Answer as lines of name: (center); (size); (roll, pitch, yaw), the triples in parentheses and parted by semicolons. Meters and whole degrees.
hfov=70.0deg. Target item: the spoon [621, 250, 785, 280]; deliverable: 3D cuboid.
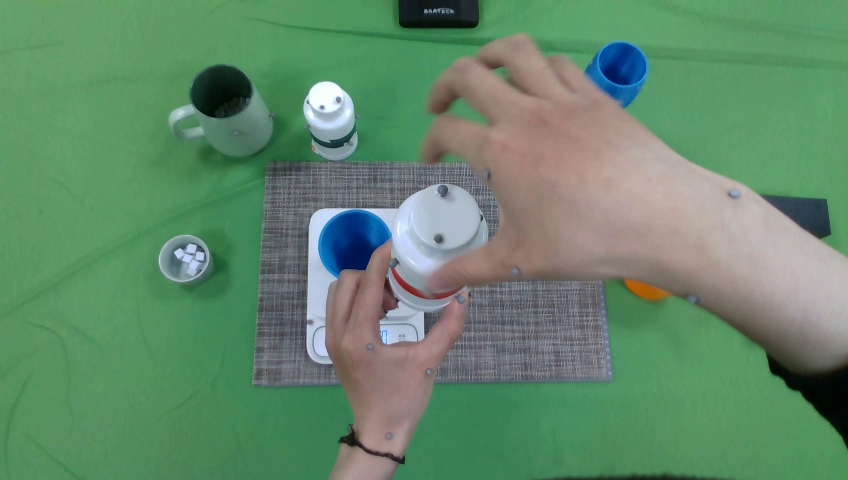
spoon: (0.340, 0.037, 0.755); (0.022, 0.192, 0.041); (22, 77, -42)

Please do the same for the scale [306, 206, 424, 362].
scale: (-0.077, 0.053, 0.781); (0.149, 0.032, 0.200); (-1, 75, -3)

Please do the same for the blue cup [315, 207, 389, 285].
blue cup: (-0.081, 0.016, 0.724); (0.093, 0.100, 0.092); (1, 76, -3)

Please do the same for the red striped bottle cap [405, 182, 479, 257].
red striped bottle cap: (0.011, -0.013, 0.367); (0.044, 0.018, 0.044); (1, 69, -3)

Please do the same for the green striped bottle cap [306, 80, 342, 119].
green striped bottle cap: (-0.124, -0.173, 0.745); (0.044, 0.020, 0.044); (1, 74, -3)

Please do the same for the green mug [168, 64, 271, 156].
green mug: (-0.271, -0.163, 0.795); (0.125, 0.105, 0.092); (-22, 77, -9)

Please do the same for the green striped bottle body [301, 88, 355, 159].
green striped bottle body: (-0.125, -0.158, 0.795); (0.063, 0.120, 0.063); (1, 74, -3)

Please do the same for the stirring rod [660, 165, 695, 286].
stirring rod: (0.320, -0.014, 0.768); (0.014, 0.177, 0.006); (4, 33, 11)

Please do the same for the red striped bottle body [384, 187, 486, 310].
red striped bottle body: (0.006, 0.005, 0.418); (0.063, 0.120, 0.062); (2, 70, -5)

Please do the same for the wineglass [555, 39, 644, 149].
wineglass: (0.226, -0.186, 0.796); (0.074, 0.173, 0.073); (1, 74, -2)

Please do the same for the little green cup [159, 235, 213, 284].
little green cup: (-0.301, 0.027, 0.775); (0.061, 0.039, 0.061); (1, 74, -4)
